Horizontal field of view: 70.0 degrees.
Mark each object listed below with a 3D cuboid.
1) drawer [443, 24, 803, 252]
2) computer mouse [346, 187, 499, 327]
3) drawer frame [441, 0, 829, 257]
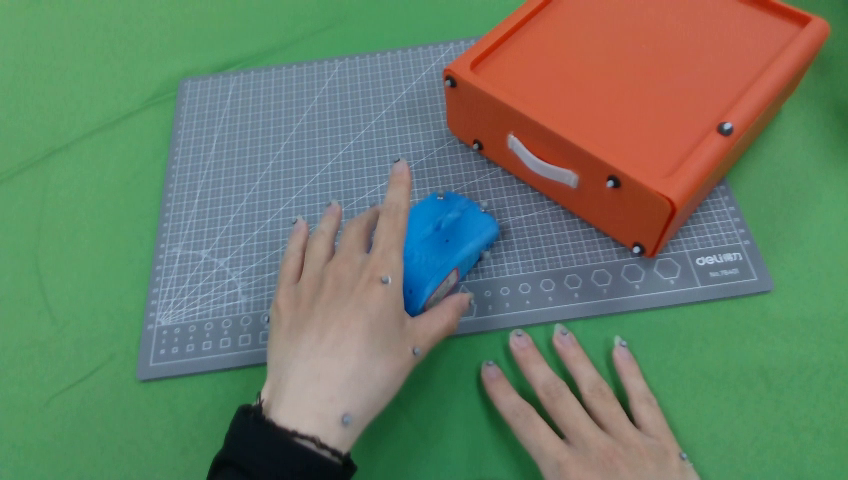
[{"bbox_3d":[0.155,-0.123,0.475,0.193,0.074,0.211,37,68,25],"label":"drawer"},{"bbox_3d":[0.000,0.006,0.438,0.062,0.041,0.117,33,63,24],"label":"computer mouse"},{"bbox_3d":[0.157,-0.125,0.475,0.200,0.083,0.213,37,68,24],"label":"drawer frame"}]
